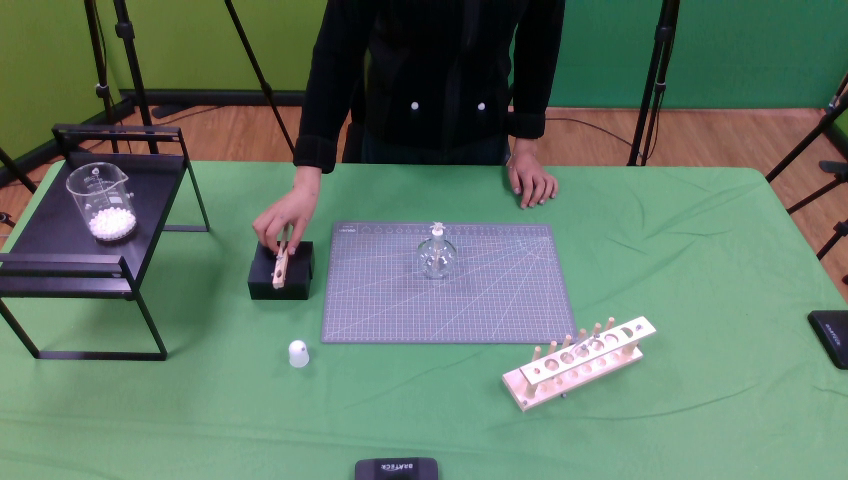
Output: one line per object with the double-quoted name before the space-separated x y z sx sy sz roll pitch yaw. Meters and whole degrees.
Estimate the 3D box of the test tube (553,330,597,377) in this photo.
"test tube" 0.226 0.176 0.924 0.017 0.151 0.017 6 55 -9

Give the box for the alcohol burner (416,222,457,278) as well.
"alcohol burner" 0.024 0.013 1.116 0.078 0.120 0.077 1 45 -1

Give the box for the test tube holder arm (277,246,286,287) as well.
"test tube holder arm" -0.251 0.047 1.069 0.010 0.015 0.087 4 45 -12

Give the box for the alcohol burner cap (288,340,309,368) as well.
"alcohol burner cap" -0.207 0.183 0.991 0.034 0.048 0.033 3 46 -3

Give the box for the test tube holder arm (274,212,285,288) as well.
"test tube holder arm" -0.261 0.014 1.098 0.013 0.015 0.177 3 45 -13

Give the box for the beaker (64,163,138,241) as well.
"beaker" -0.477 -0.055 0.910 0.084 0.101 0.073 -9 48 -13

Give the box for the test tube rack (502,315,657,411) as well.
"test tube rack" 0.253 0.186 0.989 0.242 0.085 0.066 -18 50 -20
